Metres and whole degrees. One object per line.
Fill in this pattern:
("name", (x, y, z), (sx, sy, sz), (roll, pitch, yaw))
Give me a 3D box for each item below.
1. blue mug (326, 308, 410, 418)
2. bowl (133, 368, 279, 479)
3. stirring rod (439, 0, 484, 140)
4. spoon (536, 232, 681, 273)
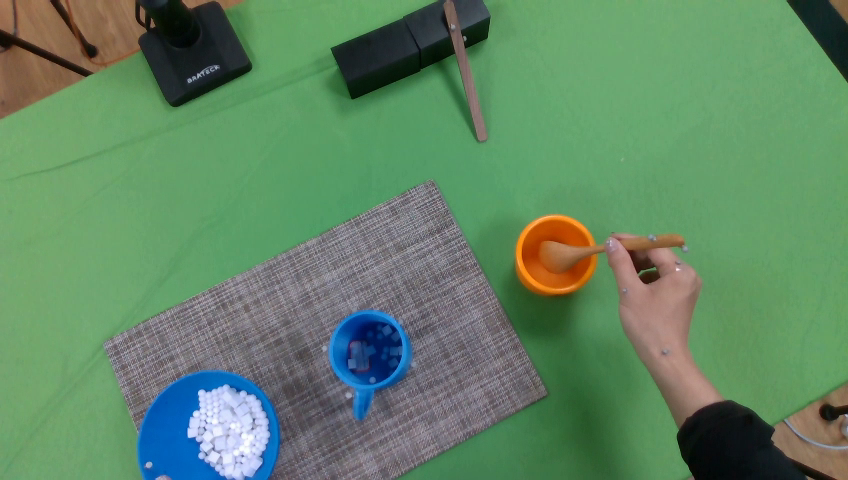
("blue mug", (-0.063, 0.139, 0.672), (0.082, 0.106, 0.116), (10, 78, 4))
("bowl", (-0.228, 0.219, 0.672), (0.151, 0.077, 0.150), (0, 78, 1))
("stirring rod", (0.048, -0.213, 0.768), (0.014, 0.006, 0.176), (-18, 100, -8))
("spoon", (0.180, 0.007, 0.623), (0.022, 0.193, 0.041), (-23, 94, -34))
